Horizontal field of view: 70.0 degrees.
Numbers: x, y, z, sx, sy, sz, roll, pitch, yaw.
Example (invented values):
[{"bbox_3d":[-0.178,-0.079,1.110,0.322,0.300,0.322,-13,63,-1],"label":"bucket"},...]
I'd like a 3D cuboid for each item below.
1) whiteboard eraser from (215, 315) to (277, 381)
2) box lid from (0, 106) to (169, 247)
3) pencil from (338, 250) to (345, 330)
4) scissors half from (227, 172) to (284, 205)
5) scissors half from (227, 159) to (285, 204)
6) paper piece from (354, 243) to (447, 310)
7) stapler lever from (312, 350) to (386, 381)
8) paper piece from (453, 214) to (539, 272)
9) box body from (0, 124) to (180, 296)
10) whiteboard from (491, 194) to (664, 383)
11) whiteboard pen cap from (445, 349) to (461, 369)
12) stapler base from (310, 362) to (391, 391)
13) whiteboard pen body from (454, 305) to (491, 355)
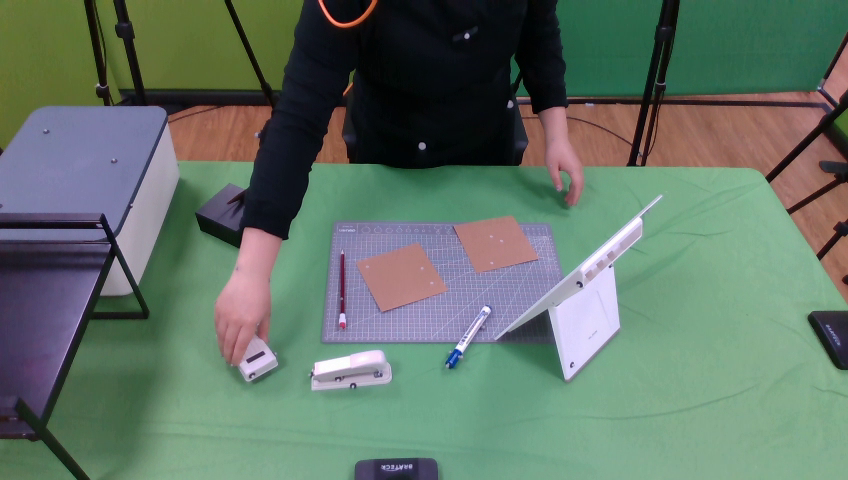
[{"bbox_3d":[-0.292,0.176,0.991,0.055,0.042,0.112,-26,53,-32],"label":"whiteboard eraser"},{"bbox_3d":[-0.624,-0.125,1.067,0.263,0.015,0.369,0,46,-3],"label":"box lid"},{"bbox_3d":[-0.150,0.085,1.108,0.012,0.012,0.192,-1,44,-6],"label":"pencil"},{"bbox_3d":[-0.339,-0.101,1.229,0.013,0.040,0.175,19,28,18],"label":"scissors half"},{"bbox_3d":[-0.337,-0.117,1.218,0.013,0.040,0.175,23,45,15],"label":"scissors half"},{"bbox_3d":[-0.045,0.066,1.136,0.136,0.009,0.137,-13,47,-23],"label":"paper piece"},{"bbox_3d":[-0.120,0.198,0.963,0.118,0.040,0.026,-5,43,-8],"label":"stapler lever"},{"bbox_3d":[0.142,0.003,1.212,0.135,0.004,0.135,-11,47,-13],"label":"paper piece"},{"bbox_3d":[-0.628,-0.075,1.122,0.254,0.161,0.361,1,46,-4],"label":"box body"},{"bbox_3d":[0.280,0.100,0.968,0.217,0.306,0.143,-33,77,-31],"label":"whiteboard"},{"bbox_3d":[0.049,0.197,1.011,0.018,0.018,0.033,24,49,17],"label":"whiteboard pen cap"},{"bbox_3d":[-0.119,0.215,0.981,0.131,0.024,0.041,-5,44,-7],"label":"stapler base"},{"bbox_3d":[0.079,0.163,1.047,0.017,0.017,0.140,26,50,19],"label":"whiteboard pen body"}]
